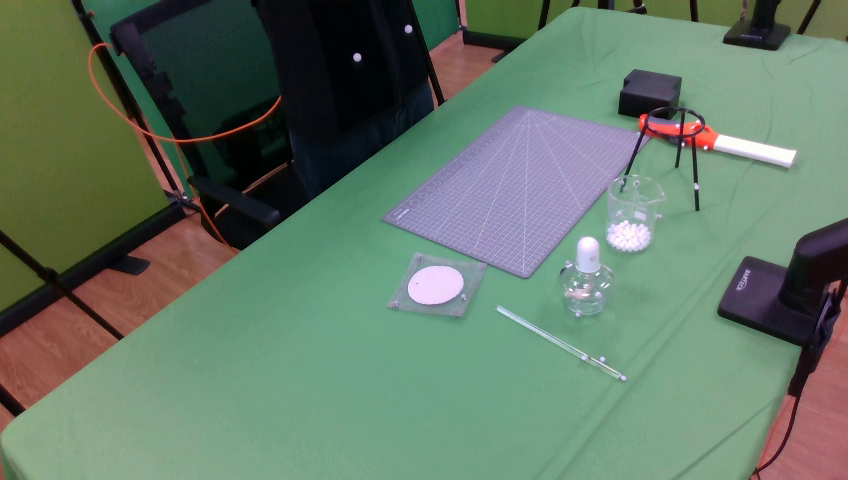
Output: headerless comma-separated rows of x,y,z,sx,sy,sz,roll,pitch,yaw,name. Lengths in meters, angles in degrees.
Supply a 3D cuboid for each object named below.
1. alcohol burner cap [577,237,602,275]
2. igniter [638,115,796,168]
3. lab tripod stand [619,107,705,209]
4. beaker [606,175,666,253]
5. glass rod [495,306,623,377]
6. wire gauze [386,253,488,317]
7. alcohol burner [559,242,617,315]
0.216,0.018,0.793,0.034,0.048,0.033,-8,35,6,alcohol burner cap
0.517,-0.181,1.093,0.274,0.025,0.057,23,65,32,igniter
0.400,-0.136,0.981,0.148,0.132,0.147,-4,41,4,lab tripod stand
0.314,-0.036,0.906,0.083,0.101,0.074,15,46,25,beaker
0.174,0.131,0.804,0.198,0.008,0.008,27,53,35,glass rod
0.021,0.067,0.910,0.121,0.011,0.125,9,41,20,wire gauze
0.222,0.045,0.816,0.078,0.119,0.077,-4,42,4,alcohol burner
